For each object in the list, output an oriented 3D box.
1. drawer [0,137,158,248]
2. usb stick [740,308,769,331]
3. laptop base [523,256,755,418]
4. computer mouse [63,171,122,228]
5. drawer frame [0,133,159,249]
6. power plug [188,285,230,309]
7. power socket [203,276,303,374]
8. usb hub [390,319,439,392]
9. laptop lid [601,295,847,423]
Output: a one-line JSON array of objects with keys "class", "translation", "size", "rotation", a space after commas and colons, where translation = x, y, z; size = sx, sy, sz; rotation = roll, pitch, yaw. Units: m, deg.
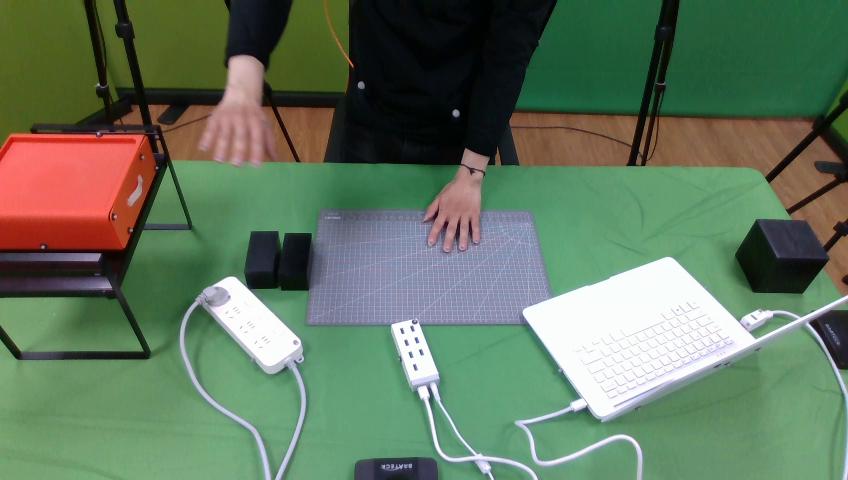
[{"class": "drawer", "translation": [-0.549, -0.079, 0.944], "size": [0.212, 0.073, 0.193], "rotation": [0, 47, -3]}, {"class": "usb stick", "translation": [0.587, 0.145, 1.088], "size": [0.059, 0.027, 0.021], "rotation": [-21, 48, -17]}, {"class": "laptop base", "translation": [0.380, 0.159, 1.077], "size": [0.355, 0.023, 0.234], "rotation": [-17, 48, -20]}, {"class": "computer mouse", "translation": [-0.522, -0.067, 0.955], "size": [0.063, 0.041, 0.116], "rotation": [1, 49, -10]}, {"class": "drawer frame", "translation": [-0.553, -0.078, 0.942], "size": [0.214, 0.083, 0.200], "rotation": [-1, 47, -4]}, {"class": "power plug", "translation": [-0.370, 0.103, 1.039], "size": [0.072, 0.053, 0.035], "rotation": [-26, 54, -23]}, {"class": "power socket", "translation": [-0.297, 0.141, 1.034], "size": [0.072, 0.033, 0.225], "rotation": [-35, 58, -31]}, {"class": "usb hub", "translation": [-0.016, 0.190, 1.013], "size": [0.049, 0.025, 0.124], "rotation": [-11, 48, -15]}, {"class": "laptop lid", "translation": [0.449, 0.180, 0.905], "size": [0.357, 0.242, 0.013], "rotation": [-17, 64, -20]}]
